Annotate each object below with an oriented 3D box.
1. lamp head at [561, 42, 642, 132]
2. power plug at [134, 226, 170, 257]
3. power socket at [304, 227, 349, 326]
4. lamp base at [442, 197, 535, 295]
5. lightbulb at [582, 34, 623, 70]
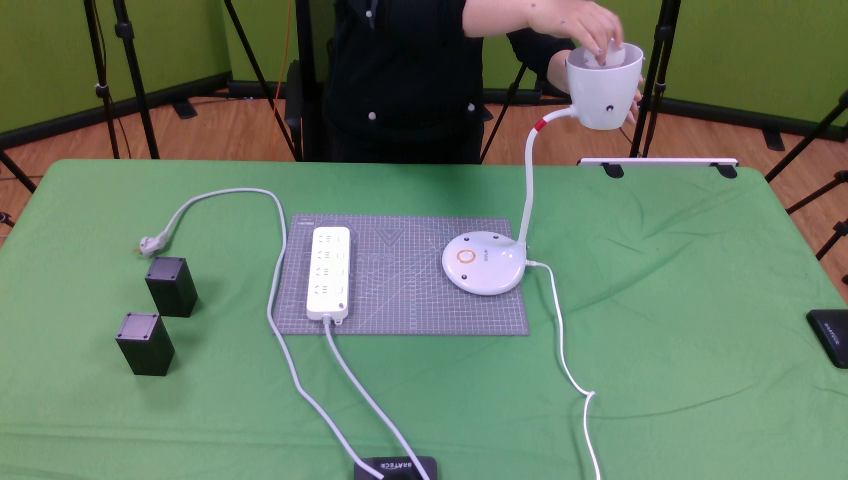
[{"bbox_3d":[0.270,-0.229,0.934,0.112,0.123,0.112,-2,37,2],"label":"lamp head"},{"bbox_3d":[-0.515,0.006,1.153,0.052,0.035,0.072,-6,24,7],"label":"power plug"},{"bbox_3d":[-0.177,0.059,1.115,0.072,0.033,0.225,-1,46,-4],"label":"power socket"},{"bbox_3d":[0.130,-0.012,1.105,0.179,0.181,0.159,-1,46,-9],"label":"lamp base"},{"bbox_3d":[0.271,-0.258,0.924,0.059,0.108,0.059,-6,34,4],"label":"lightbulb"}]
